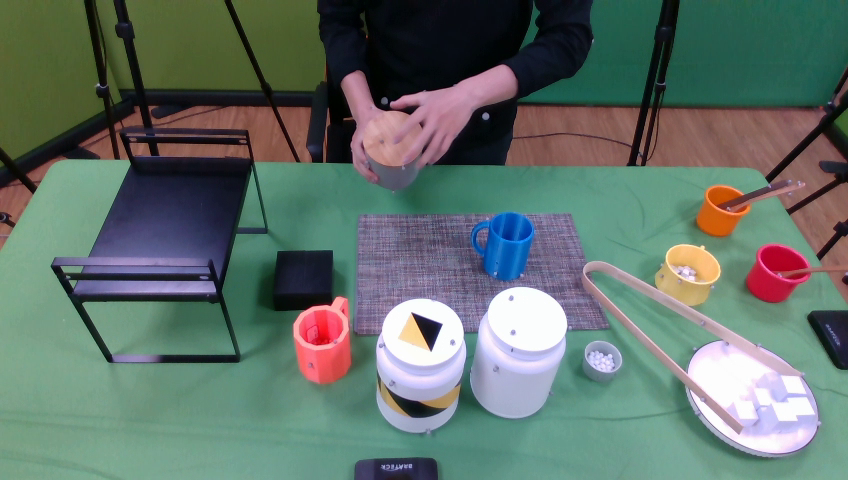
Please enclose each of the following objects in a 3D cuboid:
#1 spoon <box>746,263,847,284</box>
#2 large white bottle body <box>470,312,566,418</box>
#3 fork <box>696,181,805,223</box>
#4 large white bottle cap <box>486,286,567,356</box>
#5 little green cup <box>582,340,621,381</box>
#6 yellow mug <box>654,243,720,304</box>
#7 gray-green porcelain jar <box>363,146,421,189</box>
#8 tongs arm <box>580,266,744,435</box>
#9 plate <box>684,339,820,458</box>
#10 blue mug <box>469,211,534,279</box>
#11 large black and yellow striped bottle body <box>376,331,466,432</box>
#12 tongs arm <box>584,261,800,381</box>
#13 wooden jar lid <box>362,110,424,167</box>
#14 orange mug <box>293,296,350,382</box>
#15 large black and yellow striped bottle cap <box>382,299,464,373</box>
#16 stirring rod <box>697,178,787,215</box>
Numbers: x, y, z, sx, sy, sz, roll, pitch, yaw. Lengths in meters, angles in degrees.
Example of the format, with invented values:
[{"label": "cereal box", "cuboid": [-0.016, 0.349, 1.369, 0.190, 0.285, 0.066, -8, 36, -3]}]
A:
[{"label": "spoon", "cuboid": [0.696, 0.057, 1.113, 0.193, 0.022, 0.041, -16, 27, 48]}, {"label": "large white bottle body", "cuboid": [0.143, 0.173, 0.930, 0.131, 0.185, 0.130, 2, 46, -2]}, {"label": "fork", "cuboid": [0.659, -0.077, 1.232, 0.207, 0.019, 0.028, -26, 35, 34]}, {"label": "large white bottle cap", "cuboid": [0.147, 0.114, 0.869, 0.115, 0.018, 0.114, 3, 46, -3]}, {"label": "little green cup", "cuboid": [0.295, 0.203, 1.015, 0.061, 0.039, 0.061, 2, 45, -2]}, {"label": "yellow mug", "cuboid": [0.504, 0.054, 1.154, 0.099, 0.064, 0.130, 28, 50, 22]}, {"label": "gray-green porcelain jar", "cuboid": [-0.059, -0.159, 1.122, 0.106, 0.127, 0.105, 1, 74, -4]}, {"label": "tongs arm", "cuboid": [0.384, 0.173, 1.028, 0.028, 0.028, 0.385, -25, 46, -15]}, {"label": "plate", "cuboid": [0.523, 0.256, 0.982, 0.208, 0.039, 0.206, 2, 46, -2]}, {"label": "blue mug", "cuboid": [0.141, 0.005, 1.140, 0.116, 0.106, 0.082, 18, 48, 13]}, {"label": "large black and yellow striped bottle body", "cuboid": [-0.007, 0.189, 0.905, 0.131, 0.185, 0.130, 2, 46, -2]}, {"label": "tongs arm", "cuboid": [0.452, 0.137, 1.064, 0.051, 0.027, 0.382, -34, 50, -27]}, {"label": "wooden jar lid", "cuboid": [-0.054, -0.176, 1.062, 0.108, 0.021, 0.108, 1, 73, -4]}, {"label": "orange mug", "cuboid": [-0.158, 0.154, 0.985, 0.083, 0.101, 0.125, 17, 52, 11]}, {"label": "large black and yellow striped bottle cap", "cuboid": [-0.002, 0.132, 0.843, 0.115, 0.019, 0.114, 2, 46, -1]}, {"label": "stirring rod", "cuboid": [0.650, -0.088, 1.246, 0.006, 0.176, 0.014, 29, 49, -38]}]
